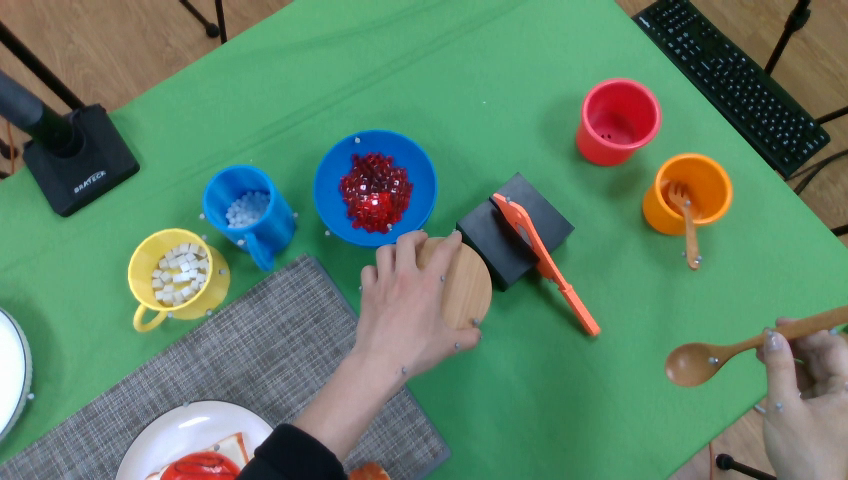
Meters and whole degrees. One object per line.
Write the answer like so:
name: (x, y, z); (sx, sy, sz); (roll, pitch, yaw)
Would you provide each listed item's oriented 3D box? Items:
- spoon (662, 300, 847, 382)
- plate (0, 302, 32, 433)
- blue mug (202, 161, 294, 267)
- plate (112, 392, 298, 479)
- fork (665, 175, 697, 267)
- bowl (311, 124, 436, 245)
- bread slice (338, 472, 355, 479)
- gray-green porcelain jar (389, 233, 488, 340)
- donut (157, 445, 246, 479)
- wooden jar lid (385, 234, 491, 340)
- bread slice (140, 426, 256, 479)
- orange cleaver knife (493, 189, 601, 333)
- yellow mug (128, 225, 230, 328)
spoon: (0.277, 0.086, 0.517); (0.022, 0.194, 0.041); (8, 64, -18)
plate: (-0.570, 0.163, 0.724); (0.208, 0.039, 0.206); (0, 75, 1)
blue mug: (-0.207, -0.023, 0.736); (0.082, 0.106, 0.116); (-16, 75, -3)
plate: (-0.243, 0.280, 0.685); (0.209, 0.038, 0.208); (0, 75, 1)
fork: (0.303, -0.028, 0.709); (0.028, 0.019, 0.206); (25, 32, 2)
bowl: (-0.059, -0.059, 0.758); (0.151, 0.077, 0.150); (0, 75, 1)
bread slice: (-0.060, 0.293, 0.635); (0.018, 0.135, 0.106); (-28, 74, -16)
gray-green porcelain jar: (0.016, 0.060, 0.701); (0.106, 0.127, 0.105); (0, 74, 1)
donut: (-0.241, 0.274, 0.657); (0.099, 0.048, 0.098); (1, 75, -2)
wooden jar lid: (0.015, 0.048, 0.619); (0.108, 0.021, 0.108); (-1, 80, 6)
bread slice: (-0.256, 0.287, 0.688); (0.131, 0.019, 0.104); (-22, 75, -10)
orange cleaver knife: (0.147, 0.025, 0.731); (0.012, 0.076, 0.212); (-38, 107, -7)
yellow mug: (-0.306, 0.051, 0.738); (0.099, 0.064, 0.130); (31, 79, 9)
